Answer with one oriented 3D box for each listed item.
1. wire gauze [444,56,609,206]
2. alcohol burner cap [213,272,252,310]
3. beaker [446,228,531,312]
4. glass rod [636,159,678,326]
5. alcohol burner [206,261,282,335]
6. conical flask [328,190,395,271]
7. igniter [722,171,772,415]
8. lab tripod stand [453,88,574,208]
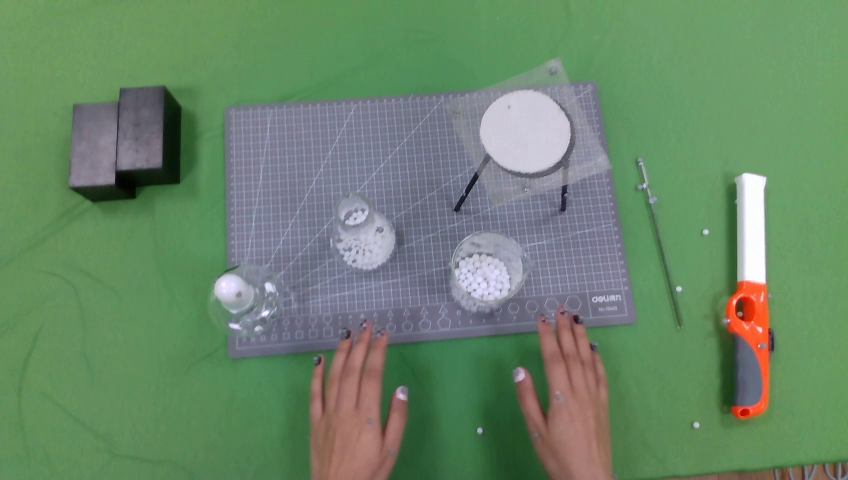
[{"bbox_3d":[0.098,-0.105,0.582,0.125,0.011,0.121,-21,79,-5],"label":"wire gauze"},{"bbox_3d":[-0.185,0.046,0.581,0.034,0.048,0.033,2,73,-6],"label":"alcohol burner cap"},{"bbox_3d":[0.063,0.035,0.634,0.084,0.100,0.073,-6,76,-3],"label":"beaker"},{"bbox_3d":[0.267,0.000,0.697,0.008,0.008,0.198,-7,76,-3],"label":"glass rod"},{"bbox_3d":[-0.187,0.056,0.616,0.078,0.119,0.077,1,77,-3],"label":"alcohol burner"},{"bbox_3d":[-0.070,-0.015,0.631,0.075,0.122,0.075,0,76,-1],"label":"conical flask"},{"bbox_3d":[0.360,0.055,0.676,0.057,0.025,0.275,10,76,-9],"label":"igniter"},{"bbox_3d":[0.098,-0.087,0.647,0.148,0.132,0.147,0,78,-1],"label":"lab tripod stand"}]
